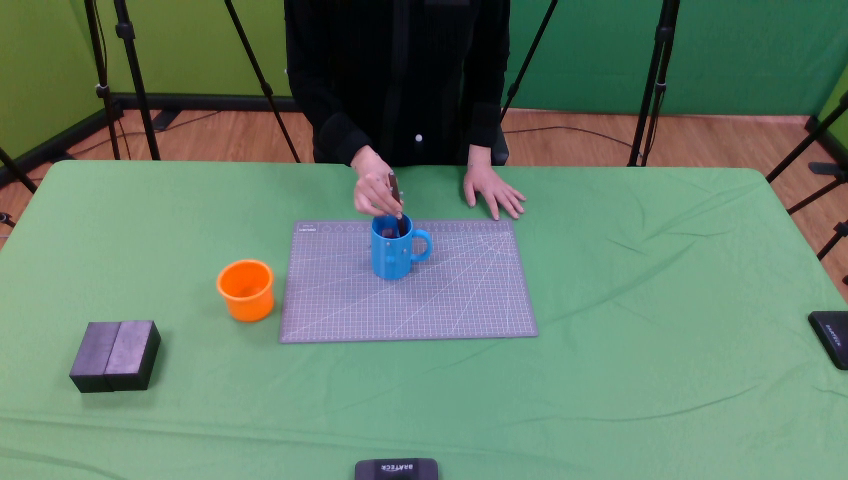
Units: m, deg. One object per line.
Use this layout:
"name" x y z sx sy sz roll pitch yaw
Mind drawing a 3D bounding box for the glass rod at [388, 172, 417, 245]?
"glass rod" -0.037 -0.051 1.088 0.008 0.201 0.008 -7 51 9

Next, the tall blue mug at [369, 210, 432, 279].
"tall blue mug" -0.048 0.005 1.125 0.107 0.108 0.077 -19 50 -21
